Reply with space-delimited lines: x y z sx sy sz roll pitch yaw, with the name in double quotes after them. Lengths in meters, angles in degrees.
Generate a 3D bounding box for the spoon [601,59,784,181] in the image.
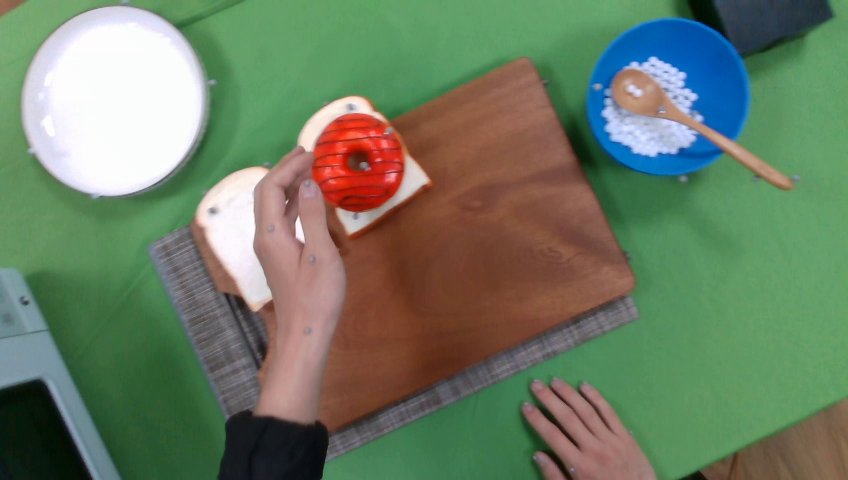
0.252 -0.112 0.576 0.192 0.022 0.041 40 97 21 "spoon"

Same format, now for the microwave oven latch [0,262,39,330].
-0.449 0.062 0.651 0.030 0.029 0.079 -27 89 2 "microwave oven latch"

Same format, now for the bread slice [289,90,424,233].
-0.079 -0.088 0.628 0.105 0.019 0.131 -36 87 1 "bread slice"

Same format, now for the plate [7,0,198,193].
-0.345 -0.154 0.663 0.207 0.039 0.207 0 90 3 "plate"

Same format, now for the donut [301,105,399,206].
-0.073 -0.083 0.599 0.099 0.048 0.099 0 90 3 "donut"

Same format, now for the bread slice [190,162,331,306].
-0.178 -0.012 0.633 0.107 0.018 0.134 -40 87 2 "bread slice"

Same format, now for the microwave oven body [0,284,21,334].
-0.503 0.286 0.557 0.326 0.260 0.441 -28 89 2 "microwave oven body"

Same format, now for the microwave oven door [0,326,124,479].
-0.355 0.254 0.544 0.039 0.244 0.355 -29 88 3 "microwave oven door"

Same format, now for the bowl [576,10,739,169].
0.223 -0.142 0.608 0.151 0.077 0.151 0 90 3 "bowl"
